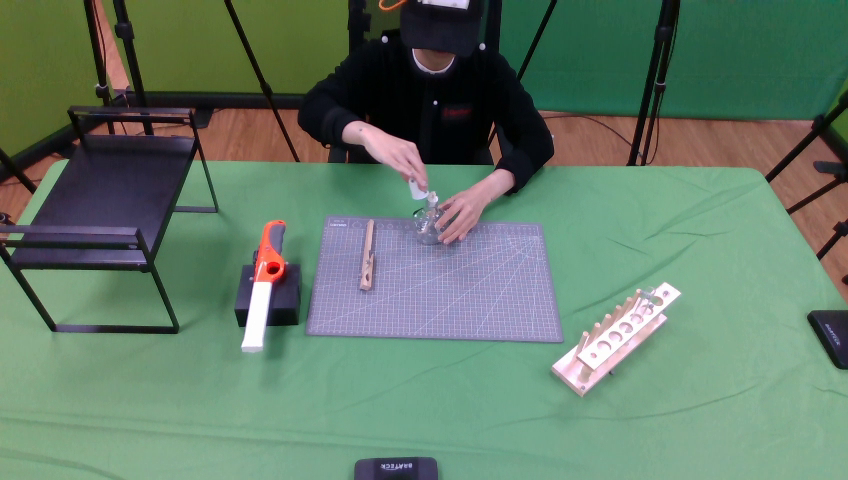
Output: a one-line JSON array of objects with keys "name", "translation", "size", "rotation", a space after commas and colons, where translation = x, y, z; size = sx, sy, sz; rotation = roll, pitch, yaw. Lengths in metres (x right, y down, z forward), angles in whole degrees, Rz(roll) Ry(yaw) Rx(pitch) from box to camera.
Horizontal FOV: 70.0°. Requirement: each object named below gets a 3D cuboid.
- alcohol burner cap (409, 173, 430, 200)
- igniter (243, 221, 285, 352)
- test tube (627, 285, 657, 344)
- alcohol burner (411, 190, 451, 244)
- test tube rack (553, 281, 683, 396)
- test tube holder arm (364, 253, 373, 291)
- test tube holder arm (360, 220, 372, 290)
[{"name": "alcohol burner cap", "translation": [-0.010, -0.101, 1.106], "size": [0.034, 0.048, 0.033], "rotation": [-13, 37, 10]}, {"name": "igniter", "translation": [-0.273, 0.068, 1.041], "size": [0.057, 0.025, 0.274], "rotation": [2, 48, -6]}, {"name": "test tube", "translation": [0.350, 0.124, 0.983], "size": [0.017, 0.151, 0.017], "rotation": [0, 49, 0]}, {"name": "alcohol burner", "translation": [0.015, -0.050, 1.175], "size": [0.078, 0.119, 0.077], "rotation": [3, 44, -2]}, {"name": "test tube rack", "translation": [0.329, 0.153, 1.023], "size": [0.242, 0.085, 0.066], "rotation": [-30, 54, -28]}, {"name": "test tube holder arm", "translation": [-0.104, 0.058, 1.132], "size": [0.010, 0.015, 0.087], "rotation": [28, 38, -26]}, {"name": "test tube holder arm", "translation": [-0.110, 0.024, 1.161], "size": [0.013, 0.015, 0.177], "rotation": [27, 38, -27]}]
